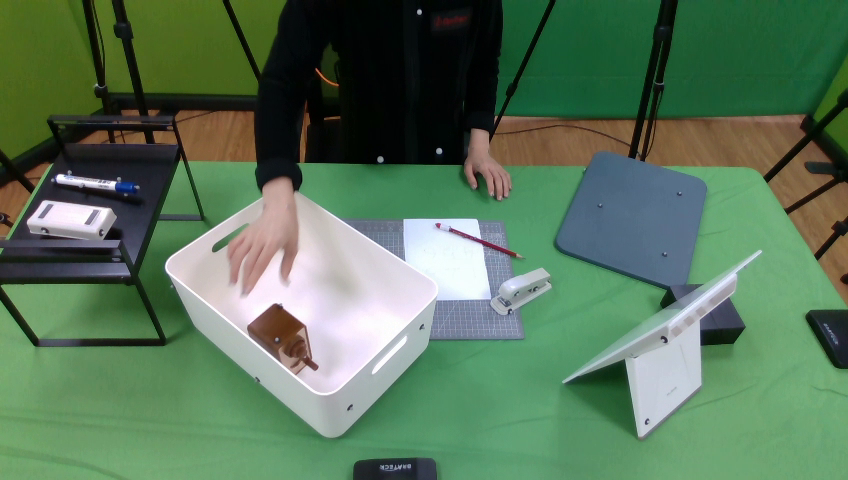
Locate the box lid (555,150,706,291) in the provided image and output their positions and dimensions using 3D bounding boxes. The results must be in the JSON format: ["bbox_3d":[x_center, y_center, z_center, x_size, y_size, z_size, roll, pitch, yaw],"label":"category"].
[{"bbox_3d":[0.451,-0.059,1.297,0.263,0.015,0.370,20,48,15],"label":"box lid"}]

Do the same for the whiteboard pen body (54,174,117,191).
[{"bbox_3d":[-0.541,-0.093,0.993,0.140,0.017,0.017,7,46,9],"label":"whiteboard pen body"}]

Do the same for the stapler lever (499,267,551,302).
[{"bbox_3d":[0.185,0.076,1.101,0.118,0.040,0.026,-25,57,-29],"label":"stapler lever"}]

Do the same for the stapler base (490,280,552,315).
[{"bbox_3d":[0.181,0.094,1.118,0.130,0.024,0.041,-24,57,-29],"label":"stapler base"}]

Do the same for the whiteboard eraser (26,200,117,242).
[{"bbox_3d":[-0.532,-0.026,0.919,0.113,0.042,0.055,7,45,3],"label":"whiteboard eraser"}]

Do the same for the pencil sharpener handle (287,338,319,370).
[{"bbox_3d":[-0.182,0.178,0.928,0.030,0.068,0.036,32,69,23],"label":"pencil sharpener handle"}]

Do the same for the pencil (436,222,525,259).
[{"bbox_3d":[0.112,0.001,1.210,0.193,0.012,0.012,22,49,14],"label":"pencil"}]

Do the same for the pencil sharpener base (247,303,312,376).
[{"bbox_3d":[-0.225,0.164,0.955,0.076,0.107,0.061,32,54,23],"label":"pencil sharpener base"}]

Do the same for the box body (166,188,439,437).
[{"bbox_3d":[-0.190,0.108,0.980,0.362,0.161,0.254,32,52,24],"label":"box body"}]

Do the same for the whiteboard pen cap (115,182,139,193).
[{"bbox_3d":[-0.483,-0.086,0.984,0.033,0.018,0.018,6,46,10],"label":"whiteboard pen cap"}]

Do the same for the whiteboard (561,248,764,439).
[{"bbox_3d":[0.386,0.176,0.905,0.217,0.306,0.143,-26,72,-27],"label":"whiteboard"}]
